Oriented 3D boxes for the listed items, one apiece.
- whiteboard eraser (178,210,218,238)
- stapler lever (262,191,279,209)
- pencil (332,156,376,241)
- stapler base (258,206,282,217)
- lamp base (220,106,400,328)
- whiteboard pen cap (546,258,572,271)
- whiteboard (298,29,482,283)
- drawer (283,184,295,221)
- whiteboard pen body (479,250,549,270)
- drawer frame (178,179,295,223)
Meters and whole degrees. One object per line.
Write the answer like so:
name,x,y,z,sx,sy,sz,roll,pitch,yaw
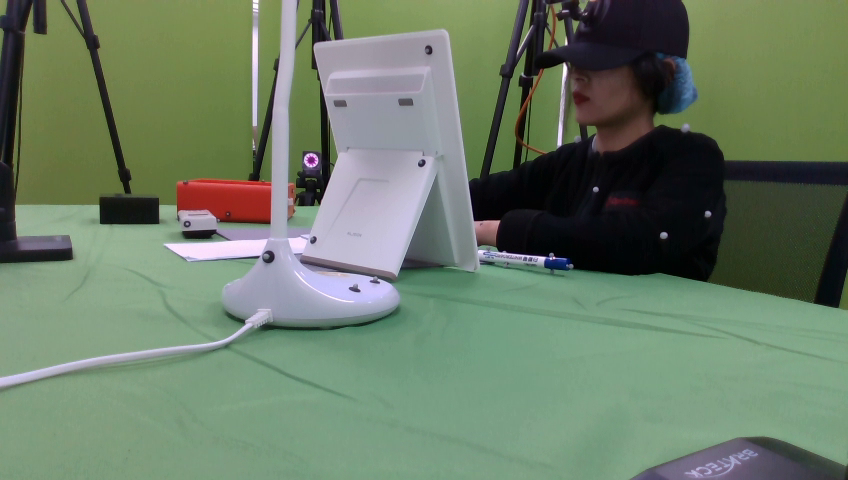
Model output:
whiteboard eraser,-0.380,-0.027,1.014,0.056,0.042,0.112,0,8,-25
stapler lever,-0.329,-0.086,1.306,0.027,0.040,0.118,9,3,-9
pencil,-0.121,-0.075,1.051,0.012,0.194,0.012,15,-32,10
stapler base,-0.331,-0.064,1.305,0.041,0.024,0.130,9,-2,-9
lamp base,-0.101,-0.023,0.531,0.160,0.180,0.179,4,10,10
whiteboard pen cap,0.175,0.032,0.790,0.033,0.018,0.018,3,6,37
whiteboard,-0.075,-0.082,0.741,0.216,0.305,0.144,9,29,37
drawer,-0.394,-0.087,1.317,0.212,0.073,0.194,1,8,-7
whiteboard pen body,0.130,0.028,0.827,0.140,0.017,0.017,7,9,38
drawer frame,-0.397,-0.088,1.315,0.214,0.082,0.201,1,8,-7
